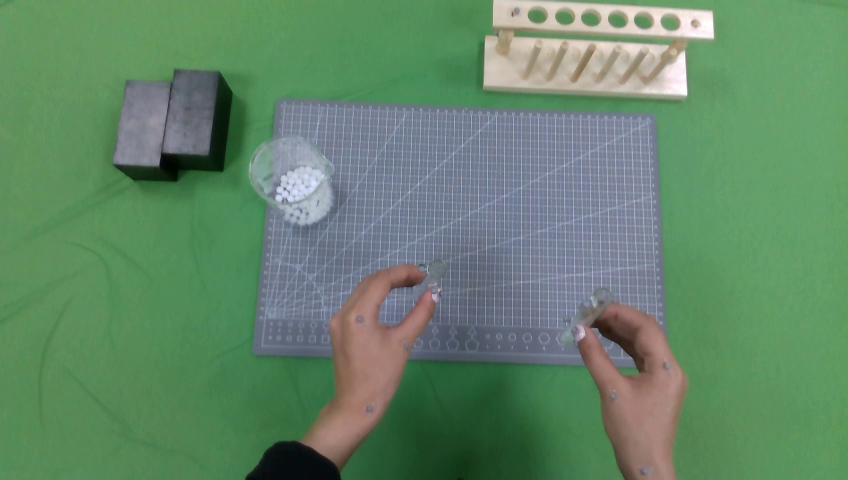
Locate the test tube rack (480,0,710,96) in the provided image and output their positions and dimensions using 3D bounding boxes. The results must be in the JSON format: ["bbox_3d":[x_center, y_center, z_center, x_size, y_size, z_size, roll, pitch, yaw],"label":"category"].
[{"bbox_3d":[0.190,-0.220,0.697,0.242,0.085,0.066,3,77,-1],"label":"test tube rack"}]

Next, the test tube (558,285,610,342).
[{"bbox_3d":[0.135,0.067,0.523,0.017,0.151,0.017,-1,69,2],"label":"test tube"}]

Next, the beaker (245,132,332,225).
[{"bbox_3d":[-0.136,-0.061,0.641,0.084,0.100,0.073,-6,78,-3],"label":"beaker"}]

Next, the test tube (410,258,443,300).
[{"bbox_3d":[0.001,0.039,0.561,0.017,0.150,0.017,1,76,-6],"label":"test tube"}]
